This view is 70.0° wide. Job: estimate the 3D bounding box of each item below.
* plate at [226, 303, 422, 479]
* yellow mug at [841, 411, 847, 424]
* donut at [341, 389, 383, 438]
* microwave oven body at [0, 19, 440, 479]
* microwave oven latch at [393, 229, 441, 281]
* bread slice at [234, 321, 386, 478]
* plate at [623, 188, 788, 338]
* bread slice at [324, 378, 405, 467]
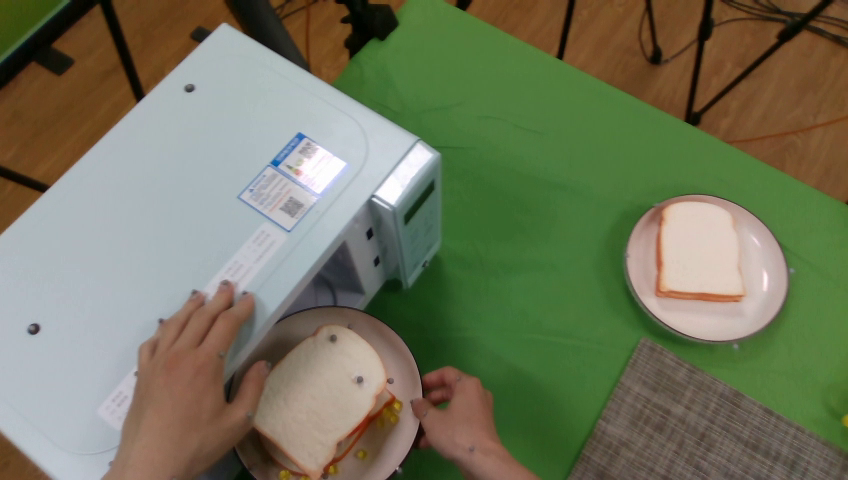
[{"bbox_3d":[-0.106,0.172,0.658,0.209,0.038,0.207,1,67,-1],"label":"plate"},{"bbox_3d":[0.557,0.216,0.702,0.130,0.064,0.099,10,67,7],"label":"yellow mug"},{"bbox_3d":[-0.092,0.159,0.638,0.099,0.048,0.098,6,59,-10],"label":"donut"},{"bbox_3d":[-0.235,0.036,0.689,0.324,0.262,0.440,32,72,14],"label":"microwave oven body"},{"bbox_3d":[-0.009,0.015,0.797,0.030,0.030,0.079,35,73,14],"label":"microwave oven latch"},{"bbox_3d":[-0.105,0.148,0.605,0.107,0.018,0.134,37,64,5],"label":"bread slice"},{"bbox_3d":[0.365,0.031,0.801,0.207,0.039,0.206,0,67,1],"label":"plate"},{"bbox_3d":[-0.100,0.179,0.657,0.131,0.019,0.104,-40,73,-20],"label":"bread slice"}]
